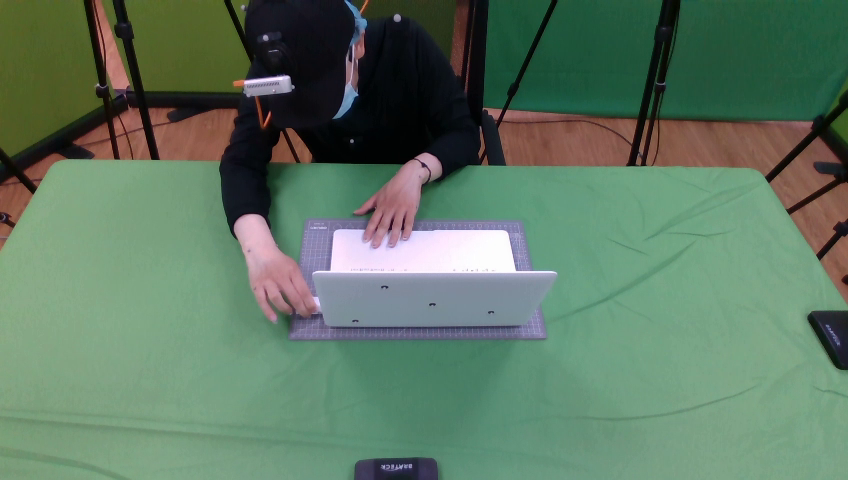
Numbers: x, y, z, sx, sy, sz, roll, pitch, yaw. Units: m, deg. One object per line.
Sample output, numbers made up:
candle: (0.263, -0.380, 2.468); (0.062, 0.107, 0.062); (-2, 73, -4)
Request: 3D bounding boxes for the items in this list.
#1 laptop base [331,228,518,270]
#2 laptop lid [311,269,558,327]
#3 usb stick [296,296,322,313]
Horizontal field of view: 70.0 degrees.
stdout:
laptop base: (0.002, 0.064, 1.135); (0.354, 0.023, 0.234); (0, 43, -4)
laptop lid: (0.012, 0.095, 0.948); (0.357, 0.242, 0.013); (1, 63, -5)
usb stick: (-0.193, 0.113, 1.056); (0.059, 0.027, 0.021); (2, 46, -14)
